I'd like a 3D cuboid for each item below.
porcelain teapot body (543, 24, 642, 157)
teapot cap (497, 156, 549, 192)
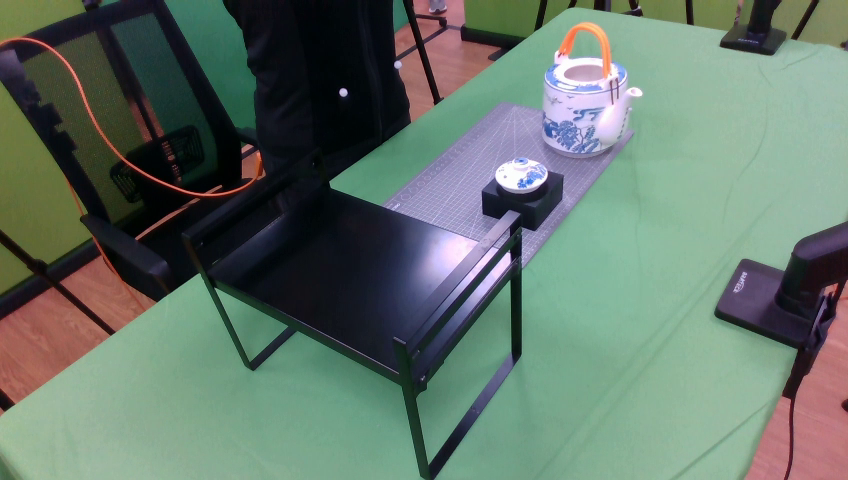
[{"bbox_3d":[0.305,-0.258,1.070,0.146,0.226,0.203,-26,44,-20],"label":"porcelain teapot body"},{"bbox_3d":[0.161,-0.113,0.986,0.085,0.044,0.085,-2,43,3],"label":"teapot cap"}]
